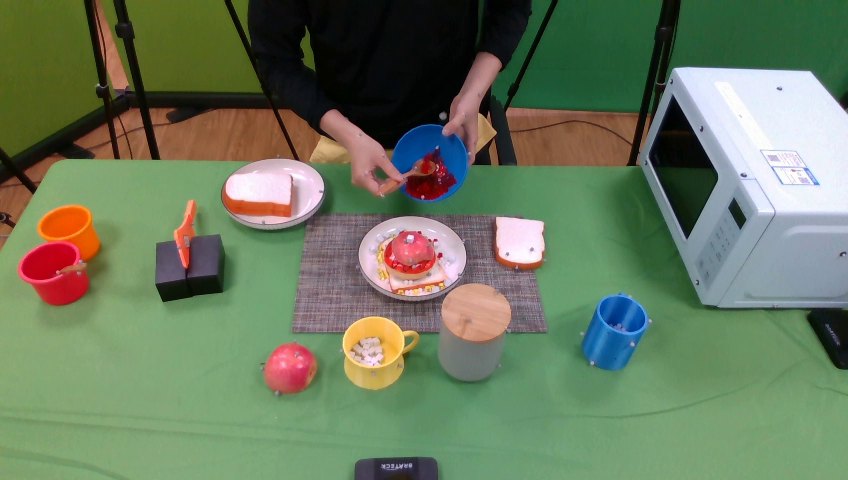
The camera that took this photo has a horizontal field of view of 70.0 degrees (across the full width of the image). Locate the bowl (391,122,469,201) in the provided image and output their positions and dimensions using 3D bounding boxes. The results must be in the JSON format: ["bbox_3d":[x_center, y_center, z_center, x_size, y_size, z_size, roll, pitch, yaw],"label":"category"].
[{"bbox_3d":[0.019,-0.145,1.171,0.151,0.077,0.151,-1,86,13],"label":"bowl"}]

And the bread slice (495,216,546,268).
[{"bbox_3d":[0.194,0.002,1.205,0.105,0.019,0.131,5,45,2],"label":"bread slice"}]

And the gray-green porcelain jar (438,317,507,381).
[{"bbox_3d":[0.076,0.158,0.977,0.106,0.127,0.105,2,47,-2],"label":"gray-green porcelain jar"}]

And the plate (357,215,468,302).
[{"bbox_3d":[-0.022,0.037,1.141,0.208,0.039,0.206,2,46,-2],"label":"plate"}]

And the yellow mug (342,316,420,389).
[{"bbox_3d":[-0.067,0.177,0.991,0.131,0.064,0.099,-16,50,-19],"label":"yellow mug"}]

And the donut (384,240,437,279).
[{"bbox_3d":[-0.025,0.030,1.110,0.099,0.048,0.098,3,45,-3],"label":"donut"}]

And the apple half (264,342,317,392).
[{"bbox_3d":[-0.214,0.198,0.970,0.074,0.053,0.080,19,48,10],"label":"apple half"}]

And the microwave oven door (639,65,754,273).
[{"bbox_3d":[0.522,-0.147,1.193,0.039,0.245,0.353,0,47,-3],"label":"microwave oven door"}]

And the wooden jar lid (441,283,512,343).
[{"bbox_3d":[0.080,0.114,0.931,0.108,0.021,0.107,1,49,0],"label":"wooden jar lid"}]

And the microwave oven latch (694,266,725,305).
[{"bbox_3d":[0.523,0.082,1.115,0.030,0.029,0.078,3,46,0],"label":"microwave oven latch"}]

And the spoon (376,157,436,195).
[{"bbox_3d":[-0.034,-0.120,1.119,0.041,0.022,0.193,35,34,14],"label":"spoon"}]

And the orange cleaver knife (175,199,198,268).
[{"bbox_3d":[-0.438,-0.017,1.138,0.012,0.077,0.210,-14,27,-7],"label":"orange cleaver knife"}]

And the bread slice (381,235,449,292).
[{"bbox_3d":[-0.027,0.039,1.141,0.107,0.018,0.133,-12,49,-16],"label":"bread slice"}]

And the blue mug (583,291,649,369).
[{"bbox_3d":[0.324,0.142,1.023,0.082,0.106,0.116,15,47,11],"label":"blue mug"}]

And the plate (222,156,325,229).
[{"bbox_3d":[-0.308,-0.095,1.251,0.209,0.038,0.208,2,46,-2],"label":"plate"}]

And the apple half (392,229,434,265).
[{"bbox_3d":[-0.021,0.004,1.083,0.081,0.033,0.081,7,49,-7],"label":"apple half"}]

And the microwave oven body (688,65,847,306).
[{"bbox_3d":[0.669,-0.111,1.176,0.326,0.261,0.439,0,46,-3],"label":"microwave oven body"}]

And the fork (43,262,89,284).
[{"bbox_3d":[-0.599,0.053,1.013,0.207,0.019,0.028,-14,30,45],"label":"fork"}]
